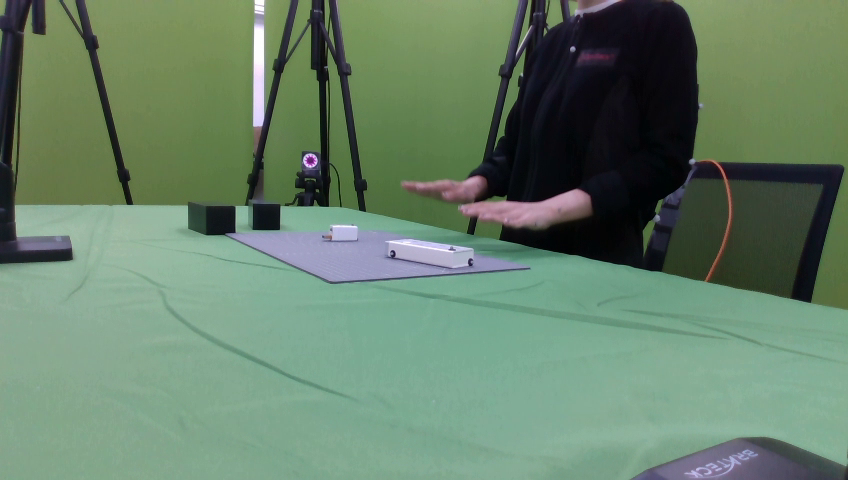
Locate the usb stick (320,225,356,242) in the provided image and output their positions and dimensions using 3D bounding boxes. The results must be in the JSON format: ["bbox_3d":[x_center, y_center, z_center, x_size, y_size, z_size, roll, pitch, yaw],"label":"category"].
[{"bbox_3d":[-0.146,-0.010,1.017,0.059,0.027,0.021,-3,12,-26],"label":"usb stick"}]

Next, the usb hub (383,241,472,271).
[{"bbox_3d":[0.003,0.020,0.842,0.124,0.025,0.050,8,9,39],"label":"usb hub"}]
